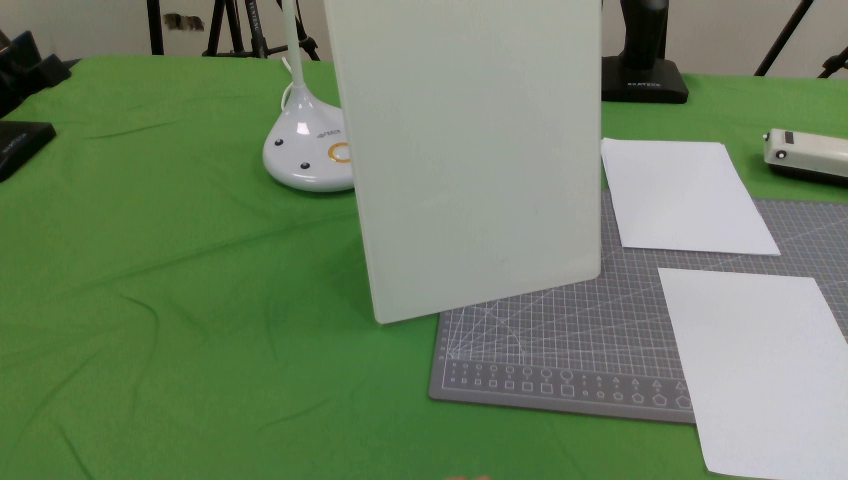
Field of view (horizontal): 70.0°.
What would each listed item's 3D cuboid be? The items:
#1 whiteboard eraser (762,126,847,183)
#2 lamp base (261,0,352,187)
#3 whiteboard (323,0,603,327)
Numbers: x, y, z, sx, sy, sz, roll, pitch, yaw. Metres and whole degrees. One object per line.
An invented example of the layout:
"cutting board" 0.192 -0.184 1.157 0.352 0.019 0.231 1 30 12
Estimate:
"whiteboard eraser" 0.448 -0.097 0.692 0.112 0.042 0.055 15 44 17
"lamp base" -0.124 -0.177 0.688 0.161 0.182 0.177 -30 46 -30
"whiteboard" 0.030 -0.108 0.552 0.217 0.307 0.142 -11 22 -10
